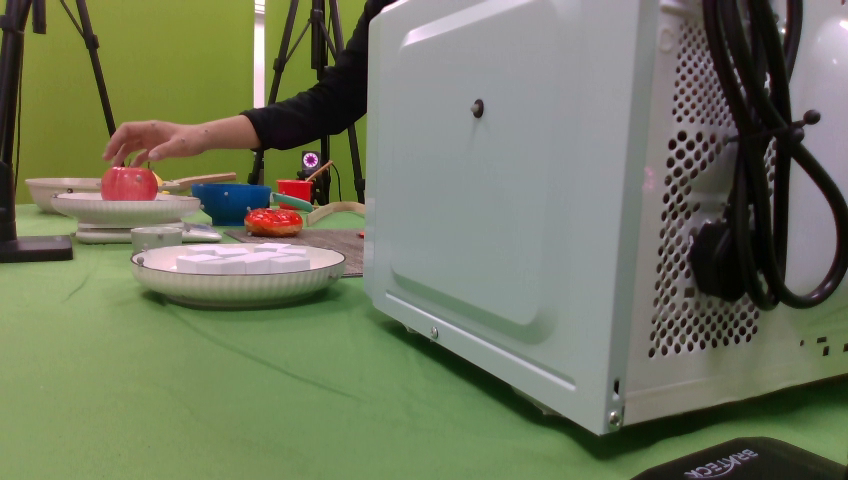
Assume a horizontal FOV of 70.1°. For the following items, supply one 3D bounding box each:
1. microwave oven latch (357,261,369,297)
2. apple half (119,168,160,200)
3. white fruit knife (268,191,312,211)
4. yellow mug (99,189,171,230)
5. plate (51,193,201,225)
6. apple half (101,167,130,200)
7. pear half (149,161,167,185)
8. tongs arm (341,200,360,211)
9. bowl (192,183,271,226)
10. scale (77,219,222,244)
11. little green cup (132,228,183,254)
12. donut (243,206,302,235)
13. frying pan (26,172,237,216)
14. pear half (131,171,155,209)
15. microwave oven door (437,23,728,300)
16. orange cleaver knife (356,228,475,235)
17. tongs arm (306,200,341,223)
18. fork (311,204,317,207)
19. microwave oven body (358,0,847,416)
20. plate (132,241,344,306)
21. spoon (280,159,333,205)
[{"bbox_3d":[-0.019,0.033,0.530,0.079,0.029,0.030,-1,7,-26],"label":"microwave oven latch"},{"bbox_3d":[-0.434,-0.076,0.939,0.033,0.081,0.081,1,7,15],"label":"apple half"},{"bbox_3d":[-0.364,-0.105,1.464,0.208,0.027,0.016,15,0,-34],"label":"white fruit knife"},{"bbox_3d":[-0.519,-0.055,1.080,0.099,0.064,0.131,7,9,26],"label":"yellow mug"},{"bbox_3d":[-0.460,-0.050,0.945,0.209,0.038,0.209,2,7,0],"label":"plate"},{"bbox_3d":[-0.471,-0.077,0.948,0.053,0.074,0.081,1,10,15],"label":"apple half"},{"bbox_3d":[-0.602,-0.120,1.354,0.056,0.110,0.076,4,11,6],"label":"pear half"},{"bbox_3d":[-0.148,-0.070,1.429,0.051,0.026,0.383,-3,8,-15],"label":"tongs arm"},{"bbox_3d":[-0.382,-0.070,1.202,0.151,0.077,0.151,3,7,0],"label":"bowl"},{"bbox_3d":[-0.434,-0.018,0.963,0.202,0.031,0.148,-1,8,-27],"label":"scale"},{"bbox_3d":[-0.342,0.006,0.779,0.061,0.038,0.061,2,8,0],"label":"little green cup"},{"bbox_3d":[-0.261,-0.032,1.043,0.099,0.048,0.099,4,10,0],"label":"donut"},{"bbox_3d":[-0.624,-0.118,1.387,0.305,0.102,0.490,8,17,32],"label":"frying pan"},{"bbox_3d":[-0.638,-0.113,1.361,0.031,0.088,0.070,5,11,4],"label":"pear half"},{"bbox_3d":[0.180,-0.073,0.621,0.358,0.243,0.039,-2,8,-29],"label":"microwave oven door"},{"bbox_3d":[-0.017,-0.015,1.080,0.211,0.012,0.077,0,1,-3],"label":"orange cleaver knife"},{"bbox_3d":[-0.234,-0.070,1.414,0.028,0.028,0.387,-4,7,1],"label":"tongs arm"},{"bbox_3d":[-0.356,-0.105,1.526,0.208,0.018,0.028,16,-5,-41],"label":"fork"},{"bbox_3d":[0.211,-0.047,0.474,0.444,0.260,0.324,-1,7,-28],"label":"microwave oven body"},{"bbox_3d":[-0.187,0.033,0.625,0.208,0.039,0.207,2,7,0],"label":"plate"},{"bbox_3d":[-0.317,-0.159,1.640,0.194,0.022,0.041,-49,32,-20],"label":"spoon"}]
